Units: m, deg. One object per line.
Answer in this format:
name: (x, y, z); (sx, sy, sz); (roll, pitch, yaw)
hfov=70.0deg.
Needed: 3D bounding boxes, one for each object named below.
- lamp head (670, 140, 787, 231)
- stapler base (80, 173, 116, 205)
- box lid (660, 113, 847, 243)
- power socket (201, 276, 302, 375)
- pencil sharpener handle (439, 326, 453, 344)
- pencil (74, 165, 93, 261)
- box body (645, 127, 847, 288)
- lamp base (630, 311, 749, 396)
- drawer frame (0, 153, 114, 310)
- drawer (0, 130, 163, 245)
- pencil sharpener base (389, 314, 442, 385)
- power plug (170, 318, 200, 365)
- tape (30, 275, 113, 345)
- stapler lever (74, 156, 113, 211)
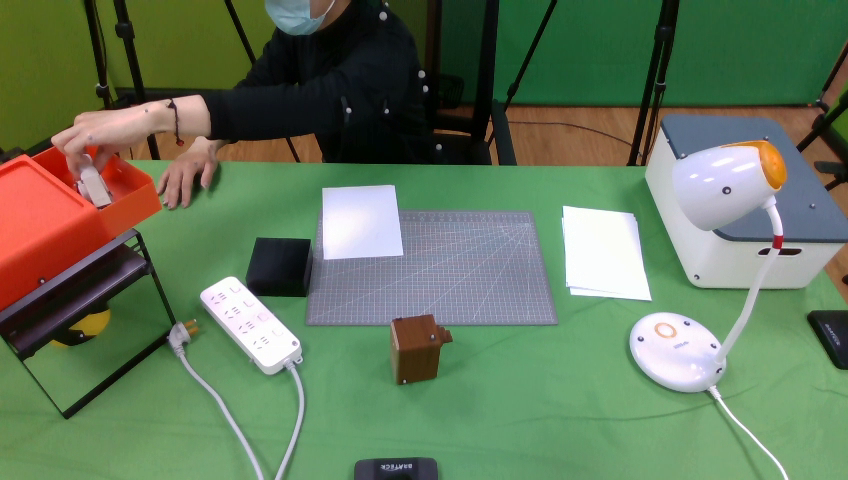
lamp head: (0.415, -0.078, 0.811); (0.113, 0.123, 0.112); (12, 70, -37)
stapler base: (-0.515, -0.070, 0.958); (0.041, 0.024, 0.130); (-26, 56, -25)
box lid: (0.628, -0.132, 1.170); (0.263, 0.015, 0.369); (1, 46, -3)
power socket: (-0.297, 0.141, 1.034); (0.072, 0.033, 0.225); (-34, 58, -30)
pencil sharpener handle: (0.036, 0.155, 0.976); (0.031, 0.068, 0.036); (-8, 70, -11)
pencil: (-0.532, -0.047, 0.942); (0.012, 0.012, 0.193); (-16, 60, -18)
box body: (0.625, -0.080, 1.222); (0.254, 0.161, 0.361); (0, 46, -3)
lamp base: (0.447, 0.143, 0.983); (0.161, 0.181, 0.178); (-24, 55, -24)
drawer frame: (-0.606, -0.009, 0.872); (0.201, 0.083, 0.213); (30, 52, 22)
drawer: (-0.551, -0.060, 0.927); (0.193, 0.073, 0.211); (31, 52, 23)
pencil sharpener base: (-0.013, 0.175, 0.971); (0.077, 0.107, 0.061); (-8, 47, -12)
power plug: (-0.393, 0.167, 1.015); (0.052, 0.035, 0.072); (-30, 92, -23)
tape: (-0.593, 0.117, 1.021); (0.117, 0.053, 0.116); (3, 46, -2)
stapler lever: (-0.511, -0.086, 0.939); (0.027, 0.040, 0.117); (-26, 56, -25)
